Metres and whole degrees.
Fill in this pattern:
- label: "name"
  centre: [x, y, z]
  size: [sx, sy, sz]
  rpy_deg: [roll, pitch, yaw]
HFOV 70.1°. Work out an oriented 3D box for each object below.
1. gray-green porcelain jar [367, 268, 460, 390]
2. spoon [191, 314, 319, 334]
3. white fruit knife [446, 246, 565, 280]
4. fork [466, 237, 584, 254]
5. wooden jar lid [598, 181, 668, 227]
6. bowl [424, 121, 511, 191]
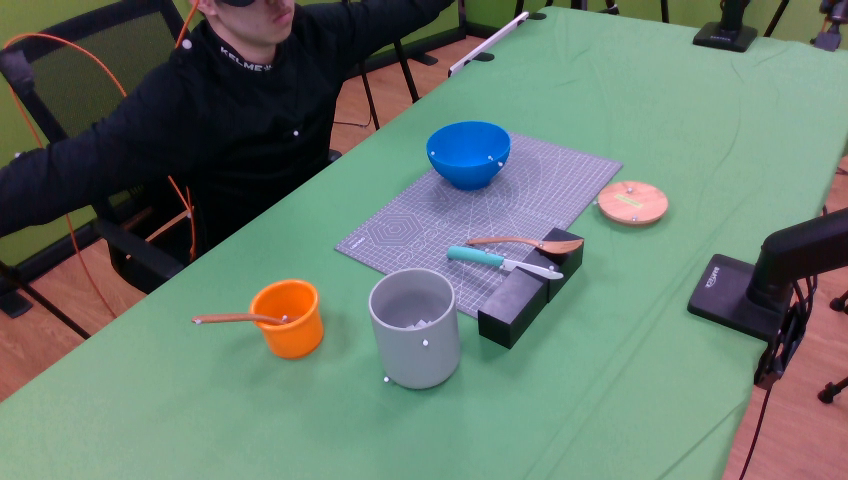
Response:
- label: "gray-green porcelain jar"
  centre: [-0.009, 0.116, 0.754]
  size: [0.106, 0.127, 0.105]
  rpy_deg: [-4, 41, 4]
- label: "spoon"
  centre: [-0.213, 0.105, 0.781]
  size: [0.041, 0.195, 0.021]
  rpy_deg: [29, 97, 37]
- label: "white fruit knife"
  centre: [0.111, 0.033, 0.868]
  size: [0.205, 0.027, 0.016]
  rpy_deg: [11, 43, 40]
- label: "fork"
  centre: [0.142, 0.005, 0.894]
  size: [0.205, 0.019, 0.028]
  rpy_deg: [4, 44, 41]
- label: "wooden jar lid"
  centre: [0.340, -0.058, 0.988]
  size: [0.108, 0.021, 0.108]
  rpy_deg: [-5, 41, 5]
- label: "bowl"
  centre: [0.080, -0.141, 1.074]
  size: [0.151, 0.077, 0.150]
  rpy_deg: [-4, 40, 4]
